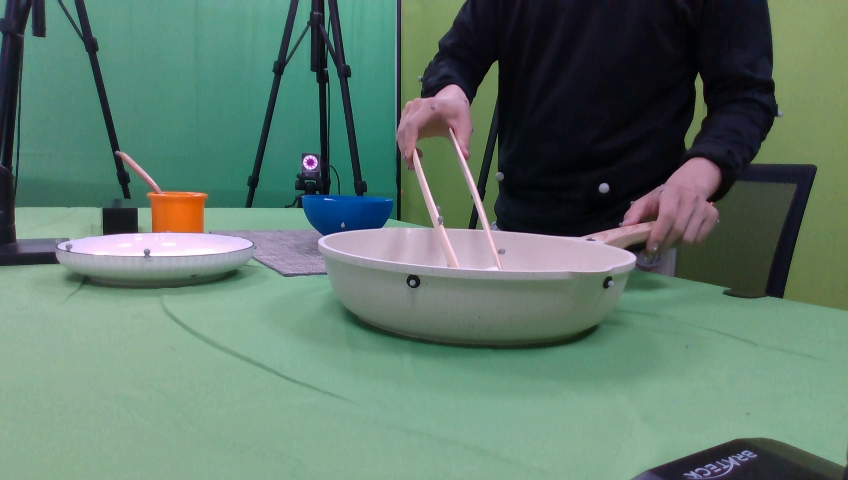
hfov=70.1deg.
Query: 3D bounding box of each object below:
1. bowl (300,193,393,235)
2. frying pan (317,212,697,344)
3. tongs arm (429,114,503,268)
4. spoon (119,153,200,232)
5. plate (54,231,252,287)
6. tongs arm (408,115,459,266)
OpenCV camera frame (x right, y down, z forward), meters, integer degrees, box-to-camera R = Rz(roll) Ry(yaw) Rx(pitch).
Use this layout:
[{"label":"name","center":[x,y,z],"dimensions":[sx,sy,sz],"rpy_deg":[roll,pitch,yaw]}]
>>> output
[{"label":"bowl","center":[-0.128,-0.034,0.995],"dimensions":[0.151,0.077,0.151],"rpy_deg":[3,7,0]},{"label":"frying pan","center":[0.133,0.013,0.629],"dimensions":[0.490,0.102,0.305],"rpy_deg":[-12,14,-31]},{"label":"tongs arm","center":[0.045,-0.060,0.689],"dimensions":[0.028,0.028,0.386],"rpy_deg":[-15,35,1]},{"label":"spoon","center":[-0.439,-0.077,1.001],"dimensions":[0.021,0.193,0.042],"rpy_deg":[-43,-7,22]},{"label":"plate","center":[-0.309,0.020,0.705],"dimensions":[0.208,0.039,0.207],"rpy_deg":[3,7,0]},{"label":"tongs arm","center":[0.022,-0.056,0.688],"dimensions":[0.051,0.026,0.383],"rpy_deg":[-14,35,-4]}]
